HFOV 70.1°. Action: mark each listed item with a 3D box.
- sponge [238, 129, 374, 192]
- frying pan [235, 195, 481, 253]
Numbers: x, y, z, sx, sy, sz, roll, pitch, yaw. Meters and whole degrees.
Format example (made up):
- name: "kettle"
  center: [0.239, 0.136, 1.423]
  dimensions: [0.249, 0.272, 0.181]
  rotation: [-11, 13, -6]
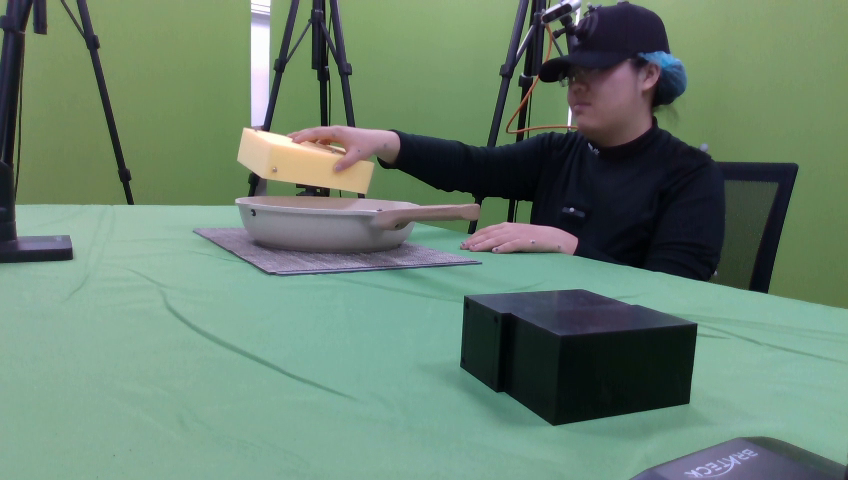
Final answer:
- name: "sponge"
  center: [-0.209, -0.140, 1.077]
  dimensions: [0.208, 0.061, 0.117]
  rotation: [4, 17, -41]
- name: "frying pan"
  center: [-0.090, -0.034, 0.891]
  dimensions: [0.308, 0.102, 0.485]
  rotation: [-4, 2, -36]
